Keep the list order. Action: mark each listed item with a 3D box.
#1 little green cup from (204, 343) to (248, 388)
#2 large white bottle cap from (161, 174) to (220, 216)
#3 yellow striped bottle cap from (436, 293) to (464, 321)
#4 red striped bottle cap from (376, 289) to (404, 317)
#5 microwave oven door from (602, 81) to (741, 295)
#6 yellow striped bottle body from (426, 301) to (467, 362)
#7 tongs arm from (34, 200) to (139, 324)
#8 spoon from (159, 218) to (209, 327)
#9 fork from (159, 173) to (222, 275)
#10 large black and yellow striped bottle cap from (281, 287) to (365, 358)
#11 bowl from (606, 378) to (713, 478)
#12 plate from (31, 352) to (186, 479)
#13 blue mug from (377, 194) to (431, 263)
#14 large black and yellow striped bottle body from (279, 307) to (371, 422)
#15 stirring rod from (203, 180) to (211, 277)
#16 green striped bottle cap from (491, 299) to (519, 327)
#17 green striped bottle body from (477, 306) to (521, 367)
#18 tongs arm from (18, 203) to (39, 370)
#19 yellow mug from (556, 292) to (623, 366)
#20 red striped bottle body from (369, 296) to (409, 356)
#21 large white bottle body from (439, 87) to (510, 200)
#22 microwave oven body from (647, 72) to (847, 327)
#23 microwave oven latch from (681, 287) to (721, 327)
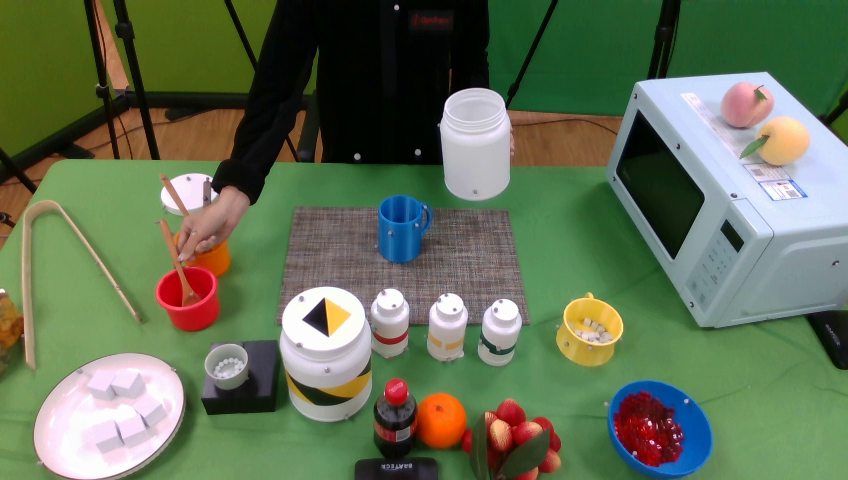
[{"bbox_3d":[-0.294,0.191,0.909,0.061,0.039,0.061,1,48,-1],"label":"little green cup"},{"bbox_3d":[-0.483,-0.095,1.253,0.115,0.018,0.114,2,47,-2],"label":"large white bottle cap"},{"bbox_3d":[0.041,0.106,0.959,0.044,0.019,0.044,-1,49,1],"label":"yellow striped bottle cap"},{"bbox_3d":[-0.054,0.098,0.958,0.044,0.018,0.044,-1,48,1],"label":"red striped bottle cap"},{"bbox_3d":[0.456,-0.107,1.162,0.039,0.245,0.353,-6,47,-11],"label":"microwave oven door"},{"bbox_3d":[0.037,0.143,0.996,0.063,0.121,0.062,3,46,-2],"label":"yellow striped bottle body"},{"bbox_3d":[-0.622,0.034,1.105,0.051,0.026,0.382,-32,56,-25],"label":"tongs arm"},{"bbox_3d":[-0.411,0.054,1.026,0.041,0.194,0.021,-18,6,-9],"label":"spoon"},{"bbox_3d":[-0.427,-0.029,1.102,0.028,0.018,0.207,-30,99,-30],"label":"fork"},{"bbox_3d":[-0.141,0.112,0.847,0.115,0.019,0.114,5,45,-4],"label":"large black and yellow striped bottle cap"},{"bbox_3d":[0.340,0.292,0.906,0.151,0.077,0.150,2,46,-2],"label":"bowl"},{"bbox_3d":[-0.459,0.262,0.898,0.209,0.038,0.208,2,46,-2],"label":"plate"},{"bbox_3d":[-0.035,-0.027,1.159,0.116,0.106,0.082,-24,53,-26],"label":"blue mug"},{"bbox_3d":[-0.145,0.173,0.907,0.131,0.185,0.130,2,46,-2],"label":"large black and yellow striped bottle body"},{"bbox_3d":[-0.396,-0.021,1.107,0.014,0.006,0.176,-1,89,-1],"label":"stirring rod"},{"bbox_3d":[0.128,0.115,0.958,0.044,0.020,0.044,1,46,-1],"label":"green striped bottle cap"},{"bbox_3d":[0.124,0.151,0.995,0.063,0.120,0.063,2,46,-2],"label":"green striped bottle body"},{"bbox_3d":[-0.698,0.069,1.069,0.028,0.028,0.385,-20,51,-13],"label":"tongs arm"},{"bbox_3d":[0.285,0.145,1.051,0.100,0.064,0.130,7,45,3],"label":"yellow mug"},{"bbox_3d":[-0.058,0.134,0.997,0.063,0.120,0.062,4,47,-4],"label":"red striped bottle body"},{"bbox_3d":[0.096,-0.181,1.148,0.130,0.185,0.130,-3,47,4],"label":"large white bottle body"},{"bbox_3d":[0.607,-0.089,1.164,0.326,0.261,0.438,-7,46,-10],"label":"microwave oven body"},{"bbox_3d":[0.494,0.119,1.087,0.030,0.029,0.078,-6,46,-9],"label":"microwave oven latch"}]
